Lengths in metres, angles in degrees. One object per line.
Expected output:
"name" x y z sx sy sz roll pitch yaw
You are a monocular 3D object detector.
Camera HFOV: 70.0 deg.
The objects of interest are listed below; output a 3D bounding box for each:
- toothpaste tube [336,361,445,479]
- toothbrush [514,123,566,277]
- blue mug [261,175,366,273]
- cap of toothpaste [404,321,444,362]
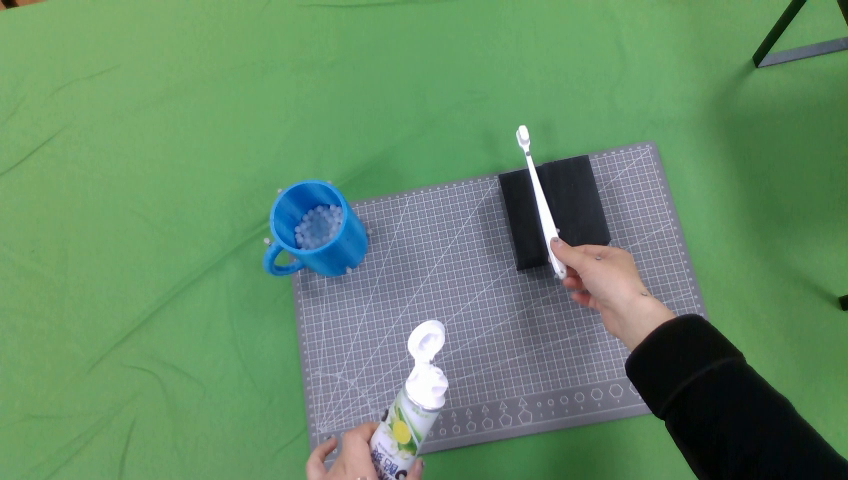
"toothpaste tube" -0.028 0.166 0.494 0.054 0.035 0.165 36 111 26
"toothbrush" 0.124 -0.047 0.646 0.014 0.017 0.180 -8 70 -10
"blue mug" -0.128 -0.004 0.668 0.116 0.106 0.082 -39 74 -4
"cap of toothpaste" 0.001 0.081 0.478 0.037 0.038 0.011 -43 40 -6
